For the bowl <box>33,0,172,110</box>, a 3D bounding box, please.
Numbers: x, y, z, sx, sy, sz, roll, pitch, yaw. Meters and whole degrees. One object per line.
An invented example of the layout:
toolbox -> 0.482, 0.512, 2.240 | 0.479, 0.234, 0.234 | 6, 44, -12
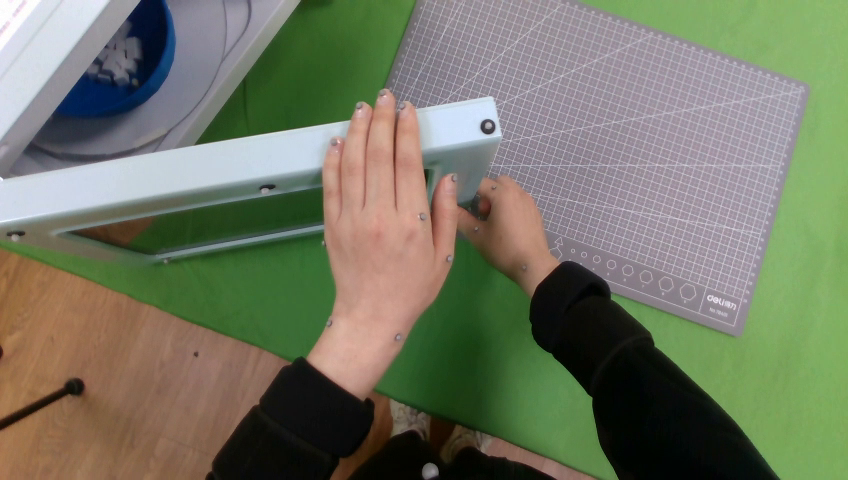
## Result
bowl -> -0.298, -0.181, 0.558 | 0.151, 0.077, 0.151 | 0, 80, 0

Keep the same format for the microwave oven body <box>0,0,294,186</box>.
microwave oven body -> -0.297, -0.263, 0.536 | 0.326, 0.260, 0.441 | 34, 84, 2

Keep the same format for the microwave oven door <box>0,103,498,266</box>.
microwave oven door -> -0.127, -0.037, 0.512 | 0.356, 0.244, 0.039 | -10, 82, -4
